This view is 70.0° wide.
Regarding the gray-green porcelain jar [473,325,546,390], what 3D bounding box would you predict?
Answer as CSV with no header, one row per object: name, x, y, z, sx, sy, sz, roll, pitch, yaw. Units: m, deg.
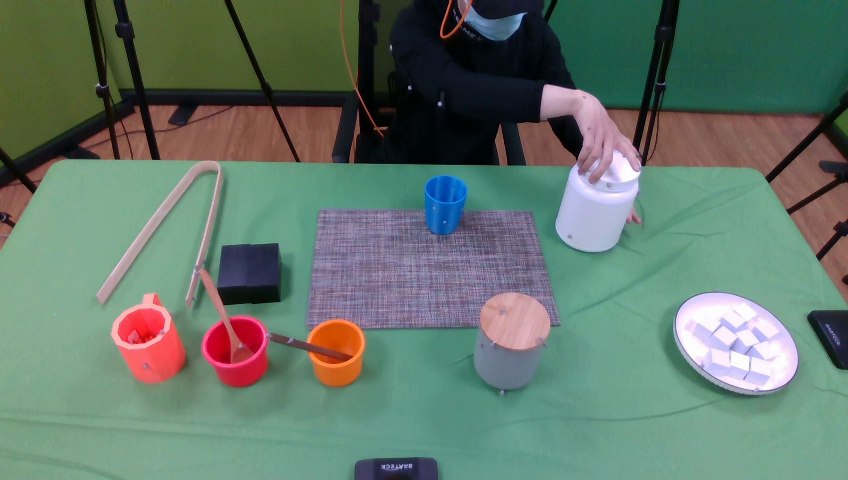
gray-green porcelain jar,0.135,0.170,0.969,0.106,0.127,0.105,2,46,-2

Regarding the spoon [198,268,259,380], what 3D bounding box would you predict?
spoon,-0.313,0.132,0.962,0.041,0.021,0.194,-24,96,-21

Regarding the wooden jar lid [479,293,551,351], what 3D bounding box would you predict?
wooden jar lid,0.137,0.127,0.925,0.108,0.021,0.107,1,47,-1

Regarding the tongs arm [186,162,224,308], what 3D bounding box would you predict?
tongs arm,-0.435,-0.025,1.181,0.051,0.027,0.382,-3,45,1

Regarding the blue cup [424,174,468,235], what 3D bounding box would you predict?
blue cup,0.039,-0.065,1.201,0.093,0.101,0.092,3,47,-3

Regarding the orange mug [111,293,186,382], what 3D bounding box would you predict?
orange mug,-0.435,0.149,0.969,0.083,0.101,0.125,-5,51,-8

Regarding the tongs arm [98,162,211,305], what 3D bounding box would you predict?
tongs arm,-0.519,-0.027,1.184,0.028,0.028,0.385,4,45,13

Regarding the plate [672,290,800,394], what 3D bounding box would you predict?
plate,0.533,0.178,1.050,0.208,0.039,0.206,2,46,-2

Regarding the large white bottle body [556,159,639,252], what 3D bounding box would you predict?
large white bottle body,0.340,-0.081,1.184,0.131,0.185,0.130,2,46,-2

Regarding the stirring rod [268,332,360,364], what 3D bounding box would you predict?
stirring rod,-0.167,0.169,0.942,0.177,0.006,0.014,26,25,-41

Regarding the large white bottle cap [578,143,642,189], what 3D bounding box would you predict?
large white bottle cap,0.344,-0.139,1.123,0.115,0.018,0.114,2,47,-2
